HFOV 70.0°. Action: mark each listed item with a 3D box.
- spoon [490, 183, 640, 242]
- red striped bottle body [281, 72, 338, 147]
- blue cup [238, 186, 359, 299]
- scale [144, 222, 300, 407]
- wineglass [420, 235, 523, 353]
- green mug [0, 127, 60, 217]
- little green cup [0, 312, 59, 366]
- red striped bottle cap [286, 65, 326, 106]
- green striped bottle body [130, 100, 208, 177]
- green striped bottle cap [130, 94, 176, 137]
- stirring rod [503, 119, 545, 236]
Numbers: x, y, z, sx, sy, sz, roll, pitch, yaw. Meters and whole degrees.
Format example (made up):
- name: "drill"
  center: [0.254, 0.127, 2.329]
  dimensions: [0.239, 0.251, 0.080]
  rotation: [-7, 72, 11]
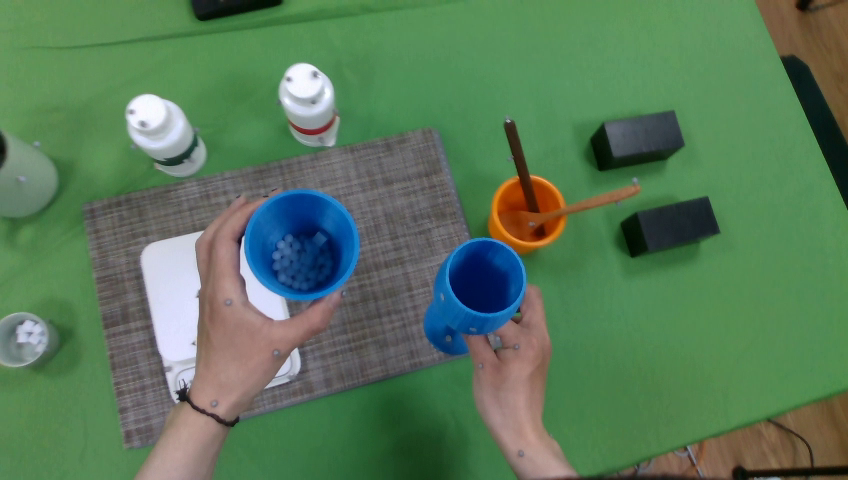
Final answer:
- name: "spoon"
  center: [0.165, -0.035, 0.730]
  dimensions: [0.022, 0.193, 0.041]
  rotation: [-10, 85, -52]
- name: "red striped bottle body"
  center: [-0.140, -0.165, 0.746]
  dimensions: [0.063, 0.120, 0.062]
  rotation: [1, 76, -5]
- name: "blue cup"
  center: [-0.101, 0.011, 0.497]
  dimensions: [0.093, 0.100, 0.092]
  rotation: [2, 79, -11]
- name: "scale"
  center: [-0.240, 0.084, 0.720]
  dimensions: [0.149, 0.031, 0.200]
  rotation: [-15, 79, -8]
- name: "wineglass"
  center: [0.036, 0.054, 0.532]
  dimensions: [0.074, 0.173, 0.073]
  rotation: [2, 70, -5]
- name: "green mug"
  center: [-0.495, -0.065, 0.697]
  dimensions: [0.092, 0.105, 0.125]
  rotation: [20, 76, 0]
- name: "little green cup"
  center: [-0.453, 0.114, 0.692]
  dimensions: [0.061, 0.039, 0.061]
  rotation: [2, 76, -6]
- name: "red striped bottle cap"
  center: [-0.135, -0.177, 0.694]
  dimensions: [0.044, 0.018, 0.044]
  rotation: [1, 74, -4]
- name: "green striped bottle body"
  center: [-0.303, -0.123, 0.720]
  dimensions: [0.063, 0.119, 0.063]
  rotation: [1, 76, -5]
- name: "green striped bottle cap"
  center: [-0.298, -0.137, 0.666]
  dimensions: [0.044, 0.020, 0.044]
  rotation: [1, 77, -3]
- name: "stirring rod"
  center: [0.123, -0.070, 0.732]
  dimensions: [0.014, 0.178, 0.006]
  rotation: [-5, 42, 23]
